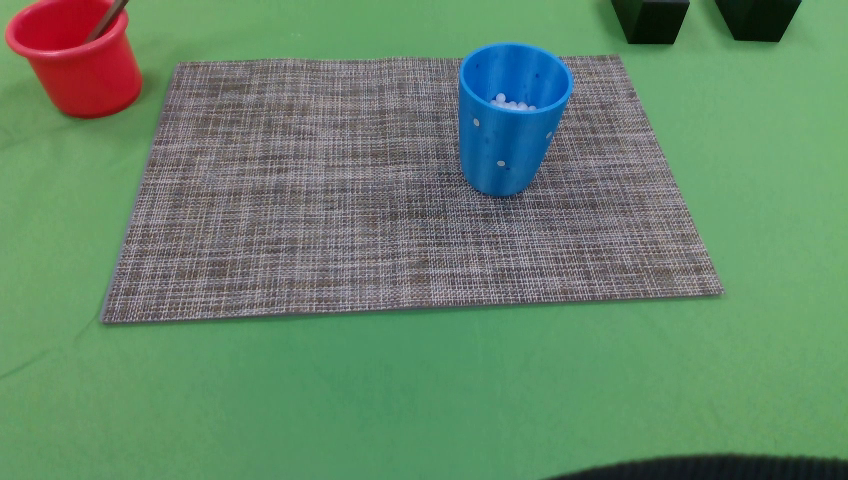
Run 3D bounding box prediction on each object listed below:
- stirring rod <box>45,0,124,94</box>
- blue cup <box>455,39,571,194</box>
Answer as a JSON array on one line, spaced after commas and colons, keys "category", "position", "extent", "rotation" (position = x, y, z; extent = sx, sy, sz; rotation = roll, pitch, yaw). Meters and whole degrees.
[{"category": "stirring rod", "position": [-0.283, -0.193, 0.531], "extent": [0.176, 0.006, 0.014], "rotation": [-41, 58, 17]}, {"category": "blue cup", "position": [0.063, -0.092, 0.483], "extent": [0.093, 0.101, 0.091], "rotation": [2, 52, -2]}]
